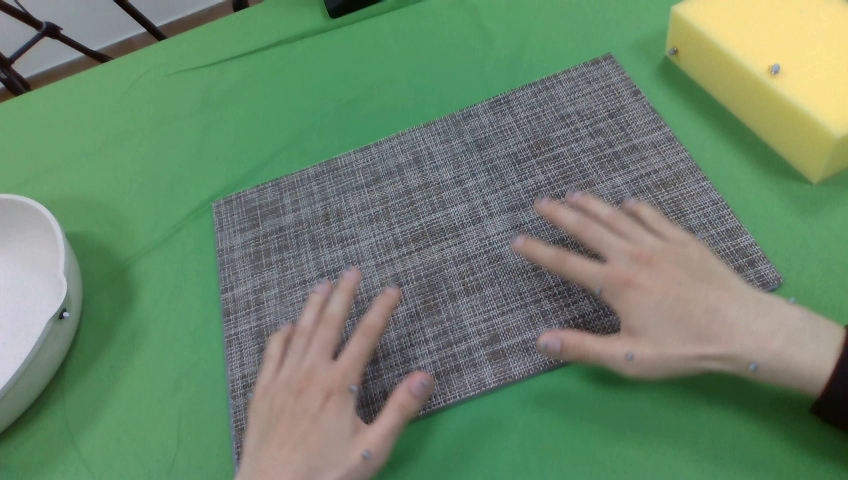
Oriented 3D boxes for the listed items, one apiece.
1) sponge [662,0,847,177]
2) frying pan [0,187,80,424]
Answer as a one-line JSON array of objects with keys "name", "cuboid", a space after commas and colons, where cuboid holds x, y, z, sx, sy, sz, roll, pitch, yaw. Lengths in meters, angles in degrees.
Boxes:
[{"name": "sponge", "cuboid": [0.329, -0.165, 0.543, 0.118, 0.061, 0.204, -27, 56, -4]}, {"name": "frying pan", "cuboid": [-0.461, 0.160, 0.512, 0.306, 0.104, 0.483, -9, 48, 10]}]
